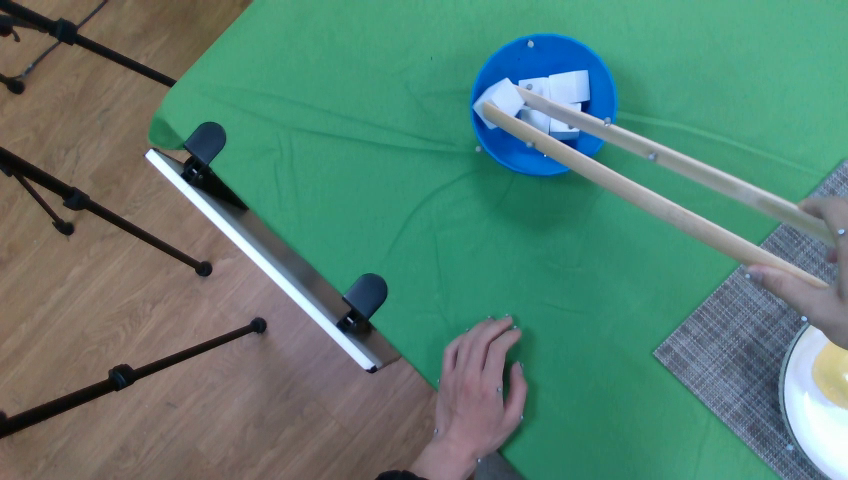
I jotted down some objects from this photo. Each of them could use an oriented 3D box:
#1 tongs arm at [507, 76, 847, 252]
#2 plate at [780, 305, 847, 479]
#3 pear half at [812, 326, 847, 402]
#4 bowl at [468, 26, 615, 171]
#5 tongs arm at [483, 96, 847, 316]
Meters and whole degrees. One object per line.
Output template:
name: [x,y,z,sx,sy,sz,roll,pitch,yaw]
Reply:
tongs arm: [0.214,-0.059,0.529,0.381,0.027,0.050,32,67,29]
plate: [0.467,0.150,0.615,0.207,0.039,0.207,-1,85,6]
pear half: [0.455,0.115,0.605,0.110,0.056,0.076,-35,86,-2]
bowl: [0.124,-0.142,0.657,0.151,0.077,0.151,0,85,6]
tongs arm: [0.196,-0.042,0.522,0.028,0.028,0.384,-41,57,-21]
